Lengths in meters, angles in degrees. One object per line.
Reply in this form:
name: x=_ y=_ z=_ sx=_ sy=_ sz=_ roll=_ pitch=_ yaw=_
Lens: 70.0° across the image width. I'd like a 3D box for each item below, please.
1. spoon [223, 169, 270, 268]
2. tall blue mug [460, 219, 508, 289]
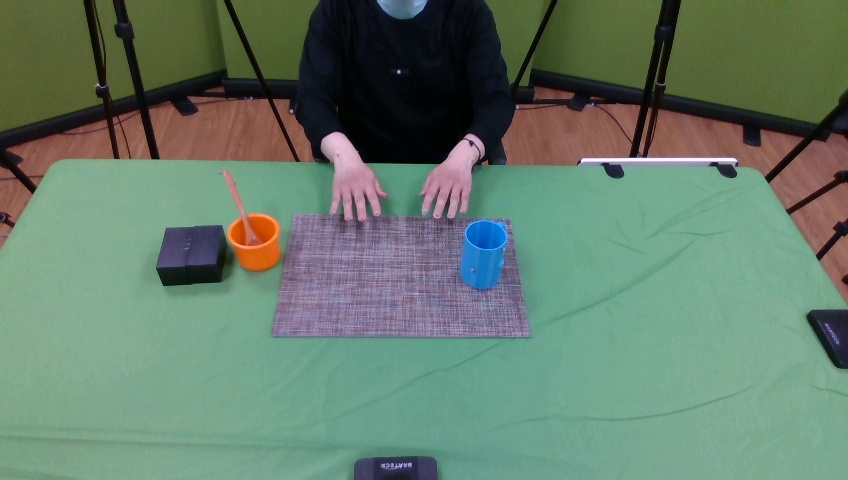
spoon: x=-0.333 y=-0.040 z=1.124 sx=0.041 sy=0.194 sz=0.021 roll=-20 pitch=7 yaw=-17
tall blue mug: x=0.111 y=0.016 z=1.122 sx=0.078 sy=0.108 sz=0.106 roll=7 pitch=46 yaw=4
